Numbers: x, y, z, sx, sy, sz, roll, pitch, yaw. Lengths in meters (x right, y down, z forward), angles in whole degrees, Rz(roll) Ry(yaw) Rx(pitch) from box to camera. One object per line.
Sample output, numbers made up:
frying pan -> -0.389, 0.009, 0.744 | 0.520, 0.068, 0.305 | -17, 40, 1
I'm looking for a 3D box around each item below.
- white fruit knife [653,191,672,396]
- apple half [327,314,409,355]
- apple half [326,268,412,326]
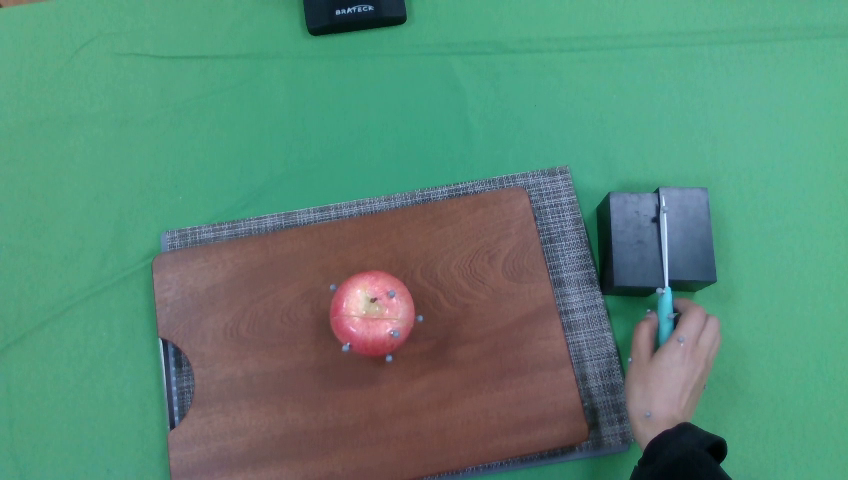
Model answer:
white fruit knife -> 0.236, 0.053, 0.607 | 0.016, 0.027, 0.207 | 0, 85, -1
apple half -> -0.053, 0.093, 0.571 | 0.081, 0.082, 0.032 | 2, 70, 0
apple half -> -0.051, 0.055, 0.582 | 0.081, 0.075, 0.053 | 1, 71, 4
